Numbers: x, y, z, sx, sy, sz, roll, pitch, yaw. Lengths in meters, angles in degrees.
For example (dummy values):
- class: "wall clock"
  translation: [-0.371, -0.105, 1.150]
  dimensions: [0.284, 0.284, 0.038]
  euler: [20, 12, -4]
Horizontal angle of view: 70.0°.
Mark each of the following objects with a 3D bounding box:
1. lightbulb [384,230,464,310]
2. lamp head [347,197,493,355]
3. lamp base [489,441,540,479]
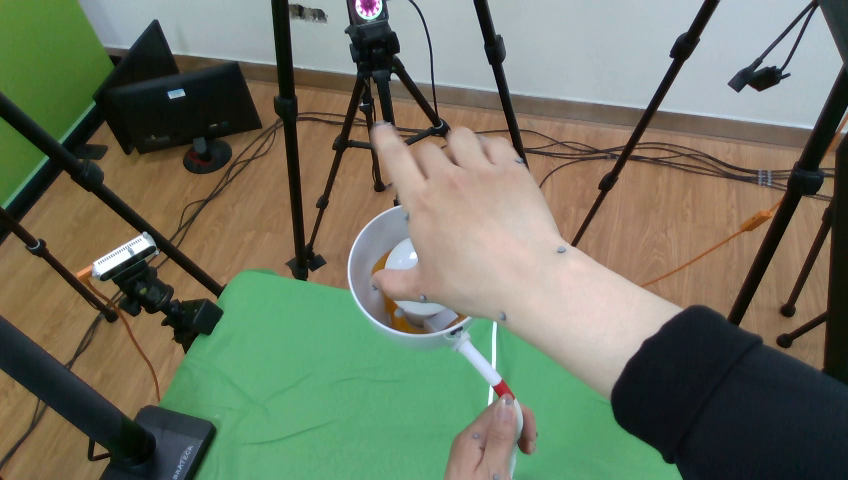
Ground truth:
- class: "lightbulb"
  translation: [-0.001, 0.030, 0.472]
  dimensions: [0.059, 0.108, 0.059]
  euler: [1, 71, -3]
- class: "lamp head"
  translation: [0.001, 0.043, 0.502]
  dimensions: [0.112, 0.124, 0.111]
  euler: [-2, 61, 4]
- class: "lamp base"
  translation: [0.103, 0.300, 0.646]
  dimensions: [0.161, 0.182, 0.177]
  euler: [-22, 52, -12]
